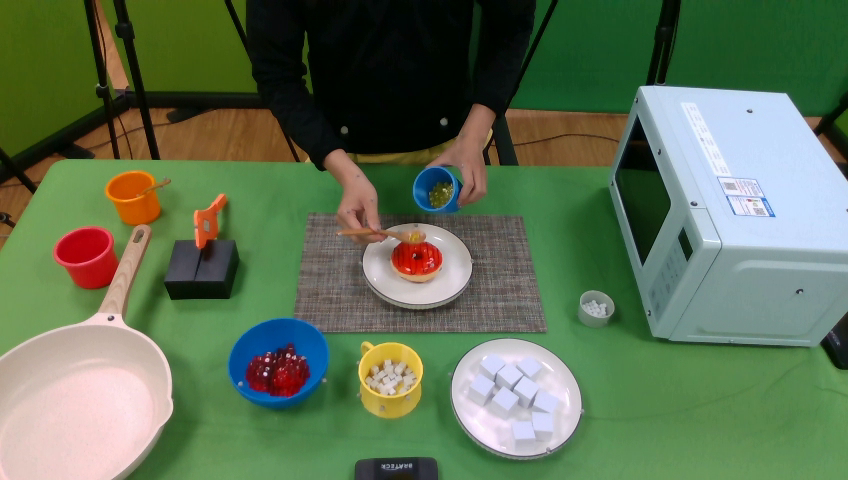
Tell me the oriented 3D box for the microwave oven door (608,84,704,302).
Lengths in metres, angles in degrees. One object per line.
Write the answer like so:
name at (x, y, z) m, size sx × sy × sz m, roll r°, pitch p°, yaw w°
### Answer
microwave oven door at (0.424, -0.096, 1.138) m, size 0.039 × 0.245 × 0.353 m, roll 2°, pitch 47°, yaw -1°

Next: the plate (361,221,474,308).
plate at (-0.011, 0.049, 1.130) m, size 0.209 × 0.038 × 0.208 m, roll 2°, pitch 46°, yaw -2°

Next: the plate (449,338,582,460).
plate at (0.141, 0.251, 0.955) m, size 0.208 × 0.039 × 0.206 m, roll 2°, pitch 47°, yaw -2°

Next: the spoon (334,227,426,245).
spoon at (-0.072, -0.011, 1.029) m, size 0.194 × 0.021 × 0.041 m, roll 8°, pitch 29°, yaw -45°

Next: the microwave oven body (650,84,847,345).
microwave oven body at (0.569, -0.054, 1.115) m, size 0.326 × 0.261 × 0.439 m, roll 2°, pitch 46°, yaw -1°

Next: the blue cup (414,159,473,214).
blue cup at (0.044, -0.090, 1.147) m, size 0.092 × 0.092 × 0.101 m, roll 45°, pitch 14°, yaw 32°

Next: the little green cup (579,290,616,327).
little green cup at (0.308, 0.124, 1.086) m, size 0.061 × 0.039 × 0.061 m, roll 1°, pitch 45°, yaw -1°

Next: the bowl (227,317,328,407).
bowl at (-0.223, 0.203, 0.947) m, size 0.151 × 0.077 × 0.150 m, roll 2°, pitch 46°, yaw -2°

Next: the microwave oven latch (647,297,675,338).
microwave oven latch at (0.413, 0.133, 1.060) m, size 0.030 × 0.029 × 0.078 m, roll 5°, pitch 46°, yaw 2°

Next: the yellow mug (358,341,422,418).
yellow mug at (-0.063, 0.210, 0.961) m, size 0.100 × 0.064 × 0.130 m, roll -29°, pitch 54°, yaw -28°

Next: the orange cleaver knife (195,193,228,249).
orange cleaver knife at (-0.406, -0.041, 1.163) m, size 0.012 × 0.077 × 0.210 m, roll 0°, pitch 18°, yaw -3°

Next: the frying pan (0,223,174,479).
frying pan at (-0.505, 0.169, 0.941) m, size 0.307 × 0.103 × 0.485 m, roll 5°, pitch 54°, yaw -1°

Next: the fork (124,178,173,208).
fork at (-0.525, -0.089, 1.153) m, size 0.207 × 0.019 × 0.028 m, roll -18°, pitch 27°, yaw 45°

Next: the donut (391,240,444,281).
donut at (-0.012, 0.035, 1.128) m, size 0.099 × 0.048 × 0.098 m, roll 3°, pitch 43°, yaw -3°
